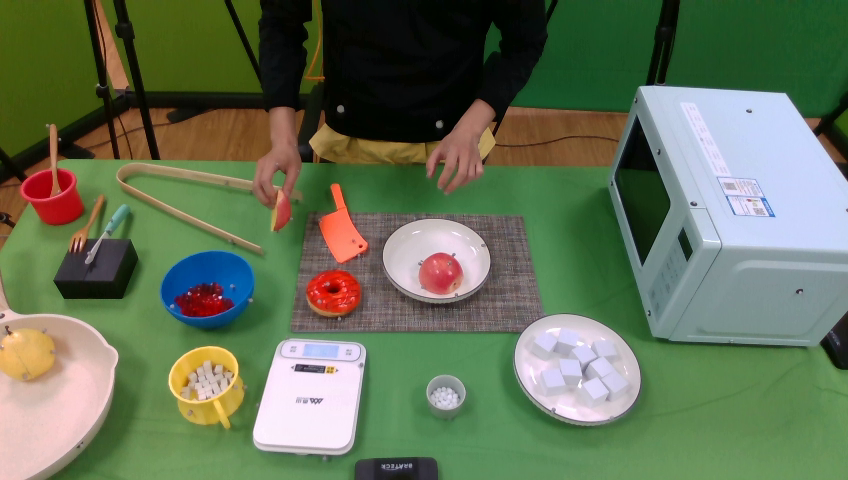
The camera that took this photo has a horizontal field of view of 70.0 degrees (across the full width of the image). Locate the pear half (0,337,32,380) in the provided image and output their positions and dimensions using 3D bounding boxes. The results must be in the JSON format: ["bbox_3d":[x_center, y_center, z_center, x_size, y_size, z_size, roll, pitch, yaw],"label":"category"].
[{"bbox_3d":[-0.631,0.184,0.921,0.070,0.088,0.031,29,49,19],"label":"pear half"}]

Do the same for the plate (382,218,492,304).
[{"bbox_3d":[0.023,0.042,1.143,0.209,0.038,0.208,2,46,-2],"label":"plate"}]

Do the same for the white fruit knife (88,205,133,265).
[{"bbox_3d":[-0.584,-0.013,1.129,0.016,0.027,0.206,0,32,-5],"label":"white fruit knife"}]

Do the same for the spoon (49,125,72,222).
[{"bbox_3d":[-0.718,-0.131,1.189,0.041,0.021,0.193,-4,90,-6],"label":"spoon"}]

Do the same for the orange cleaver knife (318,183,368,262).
[{"bbox_3d":[-0.173,-0.037,1.218,0.077,0.012,0.210,-16,50,-12],"label":"orange cleaver knife"}]

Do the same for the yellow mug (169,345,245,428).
[{"bbox_3d":[-0.322,0.230,0.922,0.100,0.064,0.130,-24,53,-25],"label":"yellow mug"}]

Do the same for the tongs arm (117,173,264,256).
[{"bbox_3d":[-0.474,-0.051,1.211,0.386,0.028,0.028,24,57,17],"label":"tongs arm"}]

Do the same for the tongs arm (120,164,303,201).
[{"bbox_3d":[-0.444,-0.113,1.266,0.384,0.026,0.050,12,52,7],"label":"tongs arm"}]

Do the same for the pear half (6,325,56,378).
[{"bbox_3d":[-0.608,0.158,0.935,0.076,0.110,0.056,31,51,20],"label":"pear half"}]

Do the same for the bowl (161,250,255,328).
[{"bbox_3d":[-0.362,0.098,1.039,0.151,0.077,0.150,2,45,-2],"label":"bowl"}]

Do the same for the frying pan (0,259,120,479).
[{"bbox_3d":[-0.647,0.164,0.936,0.307,0.103,0.485,-19,58,-22],"label":"frying pan"}]

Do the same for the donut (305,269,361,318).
[{"bbox_3d":[-0.160,0.094,1.075,0.099,0.048,0.098,4,45,-3],"label":"donut"}]

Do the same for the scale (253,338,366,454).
[{"bbox_3d":[-0.175,0.236,0.951,0.149,0.032,0.199,5,46,-1],"label":"scale"}]

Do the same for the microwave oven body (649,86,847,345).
[{"bbox_3d":[0.567,-0.053,1.118,0.326,0.261,0.439,2,45,-1],"label":"microwave oven body"}]

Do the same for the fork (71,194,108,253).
[{"bbox_3d":[-0.634,-0.036,1.158,0.028,0.019,0.206,-8,32,-8],"label":"fork"}]

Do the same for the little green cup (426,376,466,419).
[{"bbox_3d":[0.033,0.248,0.950,0.061,0.039,0.061,2,46,-2],"label":"little green cup"}]

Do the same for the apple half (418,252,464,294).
[{"bbox_3d":[0.033,0.055,1.109,0.081,0.053,0.074,-28,57,-27],"label":"apple half"}]

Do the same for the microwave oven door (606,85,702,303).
[{"bbox_3d":[0.423,-0.094,1.140,0.039,0.245,0.353,2,46,-1],"label":"microwave oven door"}]

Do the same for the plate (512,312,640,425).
[{"bbox_3d":[0.246,0.213,0.999,0.208,0.039,0.206,2,46,-2],"label":"plate"}]

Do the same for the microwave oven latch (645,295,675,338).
[{"bbox_3d":[0.412,0.134,1.061,0.030,0.029,0.078,3,45,0],"label":"microwave oven latch"}]

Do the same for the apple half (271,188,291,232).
[{"bbox_3d":[-0.262,-0.055,1.123,0.033,0.081,0.080,8,43,-21],"label":"apple half"}]
